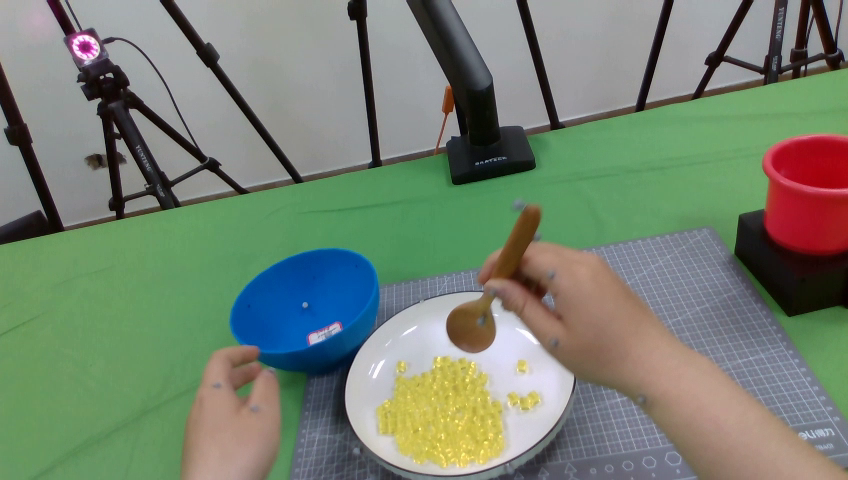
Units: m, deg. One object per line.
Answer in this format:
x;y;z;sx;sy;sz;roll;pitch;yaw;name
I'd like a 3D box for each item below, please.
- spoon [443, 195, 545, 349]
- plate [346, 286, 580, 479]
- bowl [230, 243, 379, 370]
0.046;0.030;0.408;0.041;0.195;0.021;30;60;7;spoon
0.035;0.125;0.547;0.207;0.039;0.205;-9;37;7;plate
-0.111;0.079;0.621;0.151;0.077;0.150;-9;37;7;bowl
